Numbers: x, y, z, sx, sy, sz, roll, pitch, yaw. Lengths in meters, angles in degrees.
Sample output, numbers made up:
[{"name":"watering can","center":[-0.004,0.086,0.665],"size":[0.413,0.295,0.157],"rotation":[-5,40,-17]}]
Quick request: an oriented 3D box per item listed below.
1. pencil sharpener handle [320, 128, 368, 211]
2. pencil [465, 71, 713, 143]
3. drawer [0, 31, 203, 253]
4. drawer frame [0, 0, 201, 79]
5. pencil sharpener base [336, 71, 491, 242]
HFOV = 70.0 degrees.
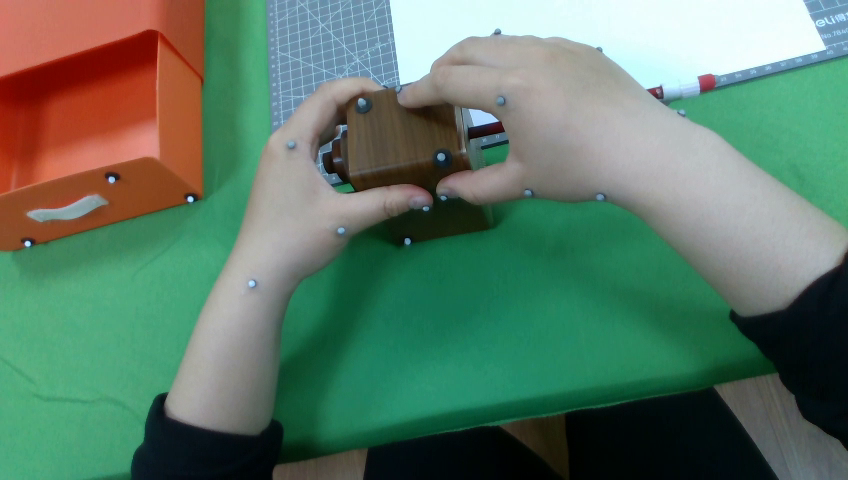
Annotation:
[{"name":"pencil sharpener handle","center":[-0.056,-0.041,0.393],"size":[0.030,0.068,0.035],"rotation":[-11,57,12]},{"name":"pencil","center":[0.068,-0.071,0.355],"size":[0.194,0.012,0.012],"rotation":[-12,66,9]},{"name":"drawer","center":[-0.292,-0.112,0.513],"size":[0.194,0.074,0.210],"rotation":[-15,65,10]},{"name":"drawer frame","center":[-0.312,-0.219,0.558],"size":[0.201,0.083,0.211],"rotation":[-14,65,9]},{"name":"pencil sharpener base","center":[-0.004,-0.048,0.395],"size":[0.076,0.108,0.061],"rotation":[-11,66,12]}]
